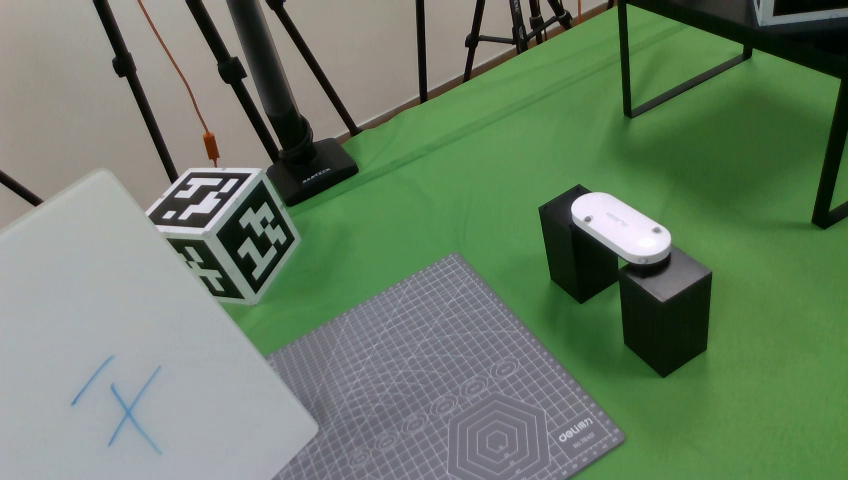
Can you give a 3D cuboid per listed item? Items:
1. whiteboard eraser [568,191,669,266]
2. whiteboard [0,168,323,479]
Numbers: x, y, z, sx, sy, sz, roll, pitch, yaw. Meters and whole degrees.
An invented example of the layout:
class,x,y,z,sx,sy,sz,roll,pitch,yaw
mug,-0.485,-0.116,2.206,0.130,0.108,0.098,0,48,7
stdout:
class,x,y,z,sx,sy,sz,roll,pitch,yaw
whiteboard eraser,0.166,-0.013,0.525,0.041,0.019,0.100,-30,42,-13
whiteboard,-0.278,0.125,0.526,0.217,0.308,0.143,-43,26,-24
